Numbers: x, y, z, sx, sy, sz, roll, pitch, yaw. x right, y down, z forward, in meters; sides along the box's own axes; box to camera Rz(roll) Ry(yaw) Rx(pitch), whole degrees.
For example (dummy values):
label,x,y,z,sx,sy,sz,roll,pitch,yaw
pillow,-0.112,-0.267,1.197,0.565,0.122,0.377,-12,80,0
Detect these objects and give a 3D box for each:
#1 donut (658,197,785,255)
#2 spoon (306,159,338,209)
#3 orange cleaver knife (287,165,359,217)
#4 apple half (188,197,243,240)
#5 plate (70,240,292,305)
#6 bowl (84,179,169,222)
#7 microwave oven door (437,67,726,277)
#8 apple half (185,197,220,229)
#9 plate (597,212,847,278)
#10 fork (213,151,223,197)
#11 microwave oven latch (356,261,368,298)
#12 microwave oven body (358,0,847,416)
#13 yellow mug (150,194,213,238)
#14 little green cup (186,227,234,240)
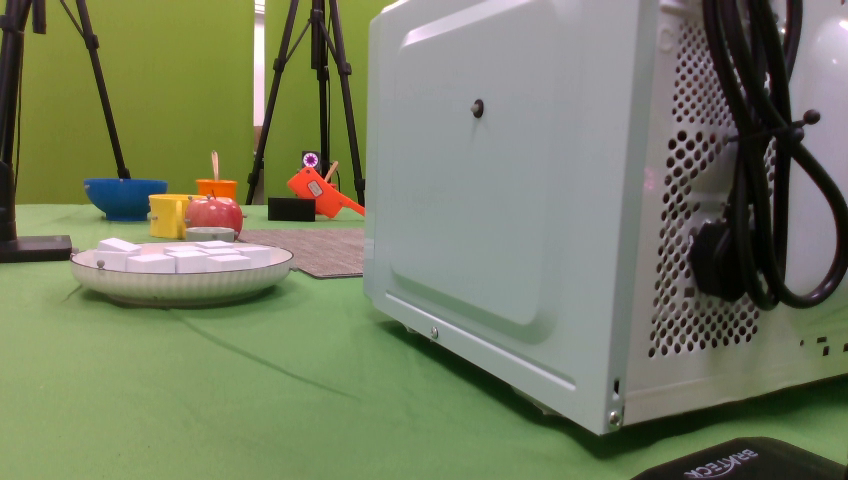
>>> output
label,x,y,z,sx,sy,sz,roll,pitch,yaw
donut,0.252,-0.012,0.518,0.099,0.048,0.099,0,9,0
spoon,-0.257,-0.147,1.567,0.041,0.022,0.193,2,51,20
orange cleaver knife,-0.210,-0.093,1.382,0.212,0.077,0.012,33,1,-15
apple half,-0.305,-0.026,0.907,0.053,0.074,0.081,12,8,31
plate,-0.242,0.031,0.618,0.208,0.039,0.207,2,8,0
bowl,-0.584,-0.078,1.194,0.151,0.077,0.151,3,8,0
microwave oven door,0.185,-0.093,0.784,0.354,0.243,0.039,6,9,29
apple half,-0.338,-0.031,0.927,0.032,0.081,0.081,12,12,31
plate,0.255,0.002,0.519,0.209,0.038,0.209,2,7,0
fork,-0.494,-0.143,1.442,0.028,0.018,0.206,-2,52,-20
microwave oven latch,-0.020,0.033,0.531,0.079,0.029,0.030,-1,7,-27
microwave oven body,0.210,-0.047,0.475,0.444,0.260,0.324,-1,7,-28
yellow mug,-0.401,-0.040,1.003,0.100,0.064,0.130,-1,9,-20
little green cup,-0.285,0.005,0.805,0.061,0.038,0.061,2,8,0
